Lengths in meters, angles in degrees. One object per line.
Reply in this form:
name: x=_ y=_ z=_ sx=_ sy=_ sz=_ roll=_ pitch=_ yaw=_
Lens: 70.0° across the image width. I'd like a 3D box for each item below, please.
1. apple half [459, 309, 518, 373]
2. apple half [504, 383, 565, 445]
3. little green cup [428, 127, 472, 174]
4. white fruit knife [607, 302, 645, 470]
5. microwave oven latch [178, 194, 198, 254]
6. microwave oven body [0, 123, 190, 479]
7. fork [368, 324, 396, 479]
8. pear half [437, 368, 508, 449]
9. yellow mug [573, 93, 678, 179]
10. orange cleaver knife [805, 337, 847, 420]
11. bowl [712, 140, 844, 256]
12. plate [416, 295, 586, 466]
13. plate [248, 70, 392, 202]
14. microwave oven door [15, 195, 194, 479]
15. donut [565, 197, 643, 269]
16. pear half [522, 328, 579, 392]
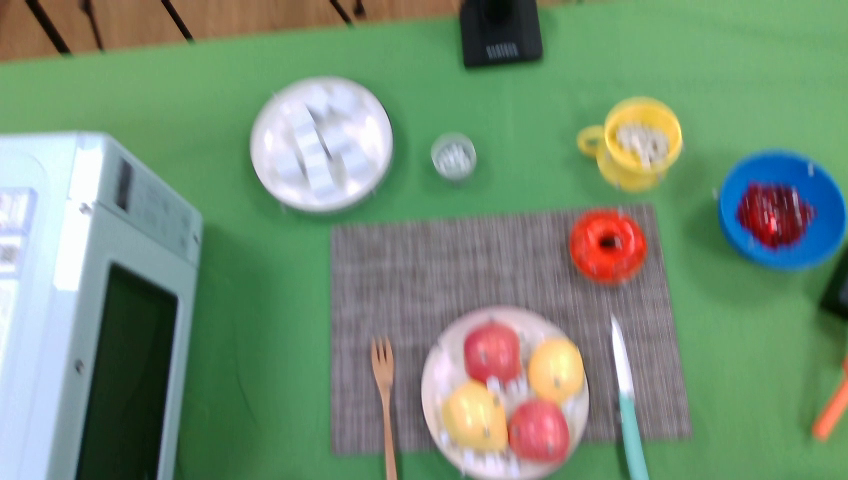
apple half: x=0.080 y=0.124 z=0.755 sx=0.074 sy=0.053 sz=0.080 roll=1 pitch=77 yaw=6
apple half: x=0.126 y=0.209 z=0.726 sx=0.081 sy=0.033 sz=0.081 roll=-8 pitch=72 yaw=25
little green cup: x=0.038 y=-0.124 z=0.857 sx=0.061 sy=0.039 sz=0.061 roll=-1 pitch=72 yaw=5
white fruit knife: x=0.247 y=0.179 z=0.756 sx=0.027 sy=0.016 sz=0.206 roll=6 pitch=69 yaw=-26
microwave oven latch: x=-0.332 y=-0.022 z=0.836 sx=0.030 sy=0.030 sz=0.078 roll=0 pitch=74 yaw=4
microwave oven body: x=-0.488 y=0.121 z=0.704 sx=0.326 sy=0.262 sz=0.439 roll=-1 pitch=73 yaw=4
fork: x=-0.051 y=0.210 z=0.769 sx=0.028 sy=0.019 sz=0.206 roll=-5 pitch=73 yaw=-6
pear half: x=0.066 y=0.208 z=0.734 sx=0.076 sy=0.056 sz=0.109 roll=-42 pitch=77 yaw=-4
yellow mug: x=0.271 y=-0.143 z=0.829 sx=0.130 sy=0.064 sz=0.099 roll=6 pitch=73 yaw=7
orange cleaver knife: x=0.515 y=0.120 z=0.719 sx=0.012 sy=0.077 sz=0.211 roll=31 pitch=103 yaw=18
bowl: x=0.439 y=-0.043 z=0.779 sx=0.151 sy=0.077 sz=0.150 roll=-1 pitch=73 yaw=5
plate: x=0.095 y=0.172 z=0.757 sx=0.209 sy=0.038 sz=0.208 roll=-1 pitch=73 yaw=4
plate: x=-0.148 y=-0.148 z=0.879 sx=0.207 sy=0.039 sz=0.206 roll=-1 pitch=73 yaw=4
microwave oven door: x=-0.343 y=0.156 z=0.676 sx=0.039 sy=0.245 sz=0.353 roll=-2 pitch=73 yaw=5
donut: x=0.236 y=-0.009 z=0.798 sx=0.099 sy=0.048 sz=0.098 roll=-2 pitch=73 yaw=7
pear half: x=0.152 y=0.150 z=0.746 sx=0.070 sy=0.031 sz=0.087 roll=13 pitch=76 yaw=30
